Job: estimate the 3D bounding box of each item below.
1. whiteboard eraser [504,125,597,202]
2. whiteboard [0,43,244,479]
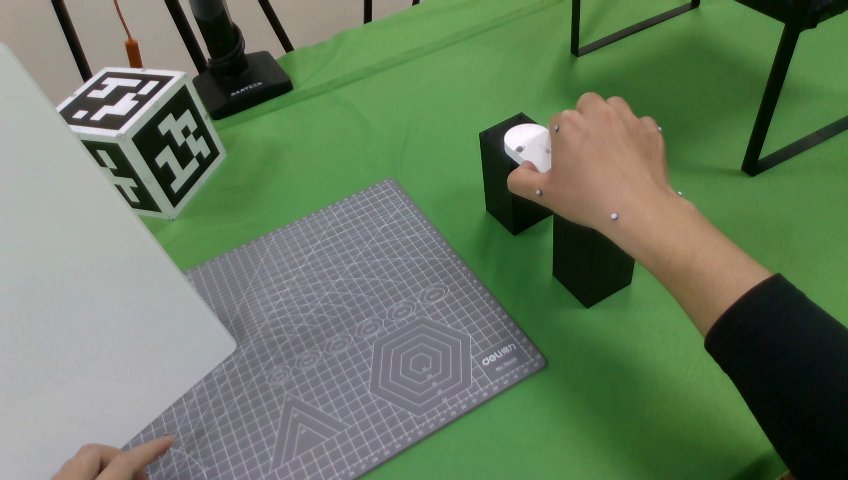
[{"bbox_3d":[0.106,-0.068,0.516,0.041,0.019,0.100,-26,48,-17],"label":"whiteboard eraser"},{"bbox_3d":[-0.337,0.038,0.482,0.217,0.308,0.142,-43,34,-26],"label":"whiteboard"}]
